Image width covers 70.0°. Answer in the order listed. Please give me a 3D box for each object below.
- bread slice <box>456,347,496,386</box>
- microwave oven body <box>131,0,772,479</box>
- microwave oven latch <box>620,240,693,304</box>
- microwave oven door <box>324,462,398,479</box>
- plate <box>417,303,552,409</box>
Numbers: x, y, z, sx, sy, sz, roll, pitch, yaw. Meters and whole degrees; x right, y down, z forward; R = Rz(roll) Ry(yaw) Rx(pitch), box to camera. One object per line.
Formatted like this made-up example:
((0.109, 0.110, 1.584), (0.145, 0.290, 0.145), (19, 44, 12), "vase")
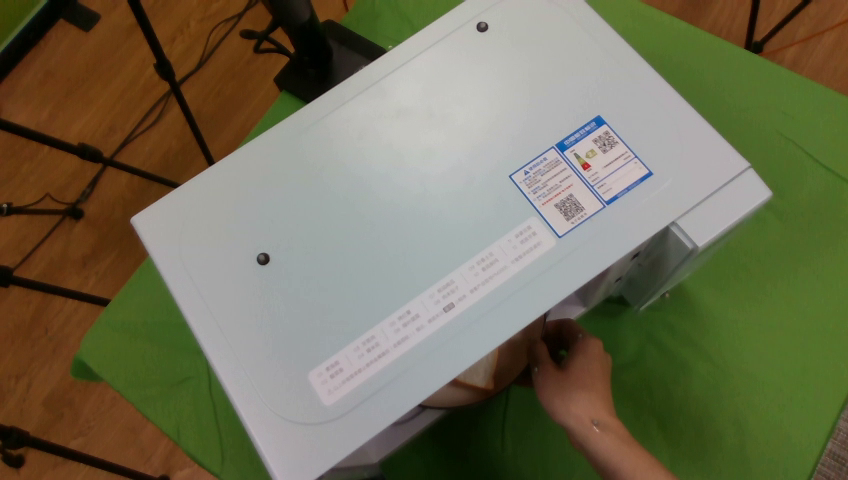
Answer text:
((0.011, 0.086, 0.612), (0.134, 0.018, 0.106), (7, 73, 3), "bread slice")
((0.017, -0.005, 0.609), (0.442, 0.262, 0.323), (-35, 72, -5), "microwave oven body")
((0.257, 0.037, 0.671), (0.079, 0.030, 0.030), (-34, 72, -4), "microwave oven latch")
((0.070, 0.297, 0.498), (0.354, 0.245, 0.039), (27, 77, 14), "microwave oven door")
((0.024, 0.065, 0.616), (0.207, 0.039, 0.206), (-1, 74, 3), "plate")
